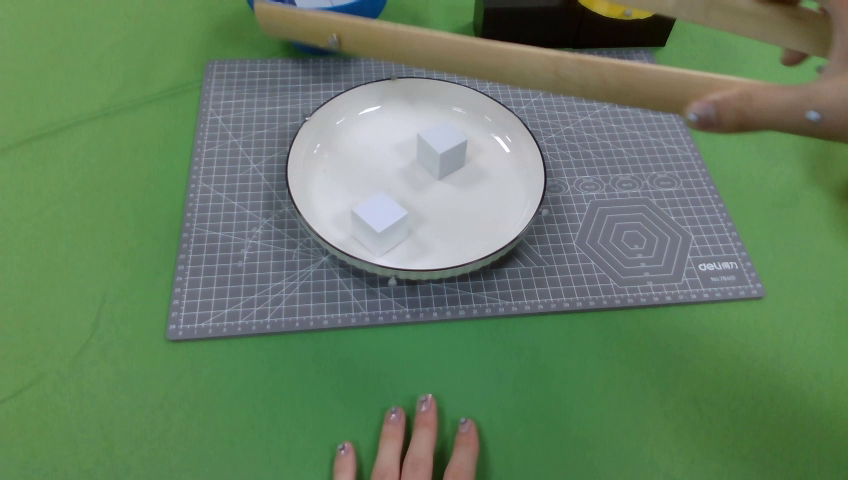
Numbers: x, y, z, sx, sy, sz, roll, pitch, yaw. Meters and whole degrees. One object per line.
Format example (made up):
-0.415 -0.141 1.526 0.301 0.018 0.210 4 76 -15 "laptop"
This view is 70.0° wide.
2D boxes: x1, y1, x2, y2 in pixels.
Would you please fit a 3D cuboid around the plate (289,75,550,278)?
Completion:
-0.003 -0.053 0.498 0.208 0.039 0.205 2 55 -2 "plate"

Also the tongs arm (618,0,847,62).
0.096 -0.154 0.372 0.381 0.027 0.050 27 59 29 "tongs arm"

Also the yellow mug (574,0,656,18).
0.179 -0.268 0.582 0.131 0.064 0.099 -17 58 -13 "yellow mug"

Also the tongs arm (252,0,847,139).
0.055 -0.105 0.340 0.385 0.028 0.028 17 51 23 "tongs arm"

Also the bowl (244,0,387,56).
-0.104 -0.237 0.598 0.151 0.077 0.150 1 55 -2 "bowl"
